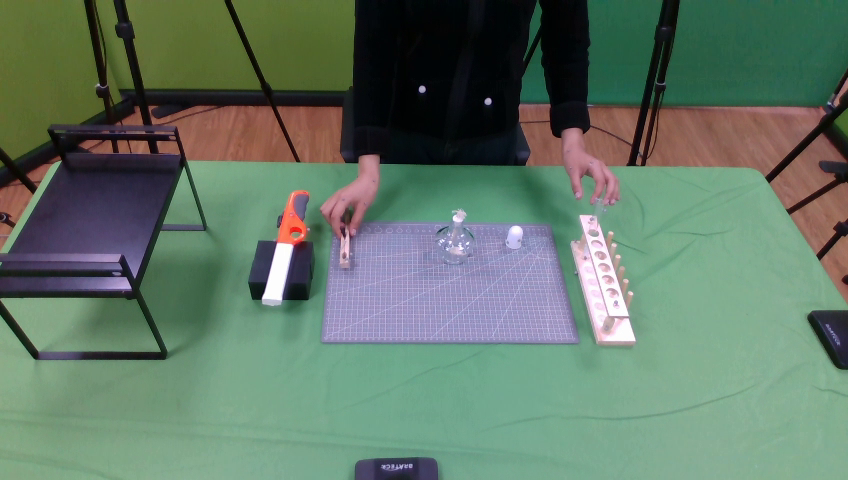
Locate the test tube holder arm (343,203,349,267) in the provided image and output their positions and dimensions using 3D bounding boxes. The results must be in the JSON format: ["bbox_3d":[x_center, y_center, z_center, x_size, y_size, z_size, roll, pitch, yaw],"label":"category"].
[{"bbox_3d":[-0.155,-0.012,1.192,0.013,0.015,0.177,-4,42,-2],"label":"test tube holder arm"}]

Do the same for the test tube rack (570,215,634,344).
[{"bbox_3d":[0.333,0.067,1.116,0.067,0.085,0.241,1,46,-4],"label":"test tube rack"}]

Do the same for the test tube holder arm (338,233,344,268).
[{"bbox_3d":[-0.157,0.018,1.159,0.010,0.015,0.087,-4,42,-2],"label":"test tube holder arm"}]

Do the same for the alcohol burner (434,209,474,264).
[{"bbox_3d":[0.058,-0.011,1.147,0.078,0.119,0.077,3,44,-3],"label":"alcohol burner"}]

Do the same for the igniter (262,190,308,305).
[{"bbox_3d":[-0.252,0.003,1.108,0.057,0.025,0.275,7,47,-6],"label":"igniter"}]

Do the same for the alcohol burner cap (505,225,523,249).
[{"bbox_3d":[0.180,-0.009,1.203,0.034,0.048,0.033,2,46,-2],"label":"alcohol burner cap"}]

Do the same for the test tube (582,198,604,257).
[{"bbox_3d":[0.314,-0.019,1.129,0.017,0.151,0.017,-1,48,1],"label":"test tube"}]
